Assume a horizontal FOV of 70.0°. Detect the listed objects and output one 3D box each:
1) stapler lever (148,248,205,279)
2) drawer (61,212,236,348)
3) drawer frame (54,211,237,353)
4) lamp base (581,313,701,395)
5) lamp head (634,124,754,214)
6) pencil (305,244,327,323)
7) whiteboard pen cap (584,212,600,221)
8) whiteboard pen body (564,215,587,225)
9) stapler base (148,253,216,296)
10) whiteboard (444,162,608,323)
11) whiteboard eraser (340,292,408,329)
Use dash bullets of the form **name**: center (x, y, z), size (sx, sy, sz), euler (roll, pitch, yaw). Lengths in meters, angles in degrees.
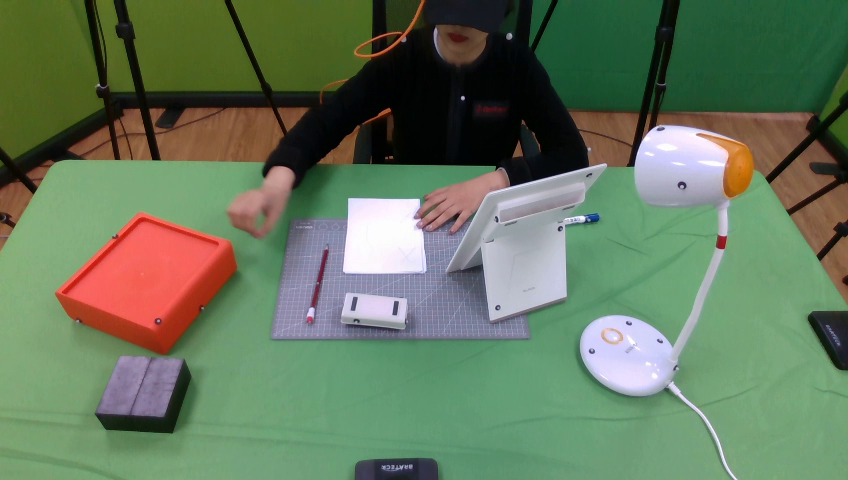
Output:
- **stapler lever**: center (-0.443, 0.038, 1.083), size (0.118, 0.040, 0.027), euler (19, 51, 17)
- **drawer**: center (-0.473, 0.064, 1.060), size (0.194, 0.073, 0.211), euler (18, 48, 11)
- **drawer frame**: center (-0.473, 0.067, 1.055), size (0.201, 0.083, 0.212), euler (17, 48, 11)
- **lamp base**: center (0.361, 0.144, 0.973), size (0.178, 0.181, 0.160), euler (34, 53, 23)
- **lamp head**: center (0.351, -0.089, 0.776), size (0.112, 0.113, 0.122), euler (-30, 30, -28)
- **pencil**: center (-0.196, 0.076, 1.115), size (0.012, 0.012, 0.193), euler (4, 44, 0)
- **whiteboard pen cap**: center (0.351, -0.048, 1.271), size (0.033, 0.018, 0.018), euler (-6, 47, -11)
- **whiteboard pen body**: center (0.291, -0.040, 1.261), size (0.141, 0.017, 0.017), euler (-6, 47, -11)
- **stapler base**: center (-0.443, 0.059, 1.108), size (0.130, 0.024, 0.041), euler (24, 52, 12)
- **whiteboard**: center (0.186, 0.026, 1.028), size (0.217, 0.306, 0.143), euler (-14, 68, -17)
- **whiteboard eraser**: center (-0.087, 0.125, 1.052), size (0.113, 0.042, 0.055), euler (5, 45, 1)
